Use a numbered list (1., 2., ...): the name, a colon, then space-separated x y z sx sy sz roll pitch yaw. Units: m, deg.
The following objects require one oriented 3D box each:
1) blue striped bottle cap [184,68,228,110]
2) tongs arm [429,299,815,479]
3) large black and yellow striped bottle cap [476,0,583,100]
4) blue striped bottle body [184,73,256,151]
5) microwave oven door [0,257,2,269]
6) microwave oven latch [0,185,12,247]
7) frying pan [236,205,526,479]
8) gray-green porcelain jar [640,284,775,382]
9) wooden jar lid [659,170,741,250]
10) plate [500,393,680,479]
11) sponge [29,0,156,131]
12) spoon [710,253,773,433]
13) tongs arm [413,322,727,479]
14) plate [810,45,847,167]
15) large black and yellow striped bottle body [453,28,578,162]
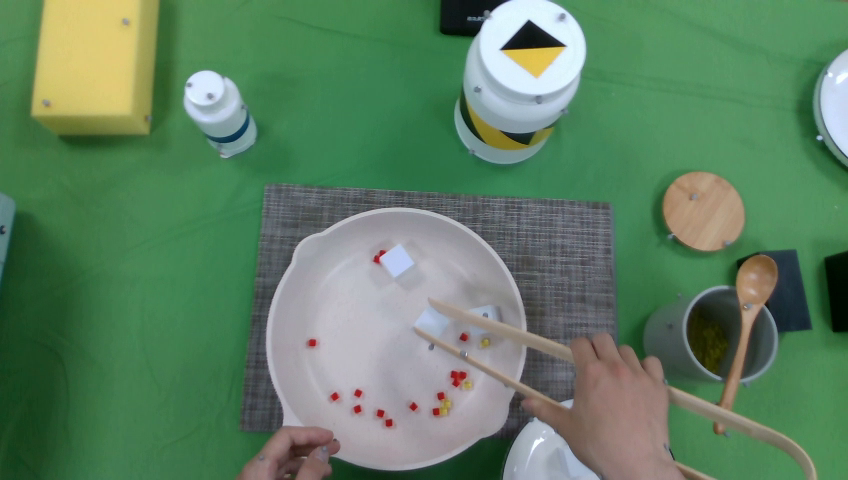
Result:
1. blue striped bottle cap: -0.245 -0.170 0.680 0.044 0.021 0.044 1 79 -4
2. tongs arm: 0.158 0.128 0.581 0.384 0.028 0.028 19 56 33
3. large black and yellow striped bottle cap: 0.113 -0.206 0.647 0.115 0.019 0.114 1 79 -3
4. blue striped bottle body: -0.247 -0.158 0.730 0.063 0.121 0.063 1 76 -3
5. microwave oven door: -0.514 0.164 0.559 0.039 0.244 0.354 3 77 -2
6. microwave oven latch: -0.507 -0.026 0.706 0.030 0.029 0.079 6 77 -3
7. frying pan: -0.101 0.175 0.670 0.306 0.103 0.487 43 70 7
8. gray-green porcelain jar: 0.320 0.112 0.705 0.106 0.127 0.105 1 77 -3
9. wooden jar lid: 0.360 -0.039 0.796 0.108 0.021 0.108 1 79 -3
10. plate: 0.189 0.282 0.701 0.208 0.039 0.206 1 79 -4
11. sponge: -0.415 -0.245 0.769 0.118 0.061 0.206 -2 78 -5
12. spoon: 0.328 0.107 0.635 0.042 0.021 0.193 19 80 -6
13. tongs arm: 0.146 0.145 0.572 0.381 0.027 0.050 24 62 36
14. plate: 0.630 -0.175 0.834 0.209 0.038 0.208 1 77 -3
15. large black and yellow striped bottle body: 0.107 -0.185 0.728 0.131 0.184 0.130 1 76 -3
